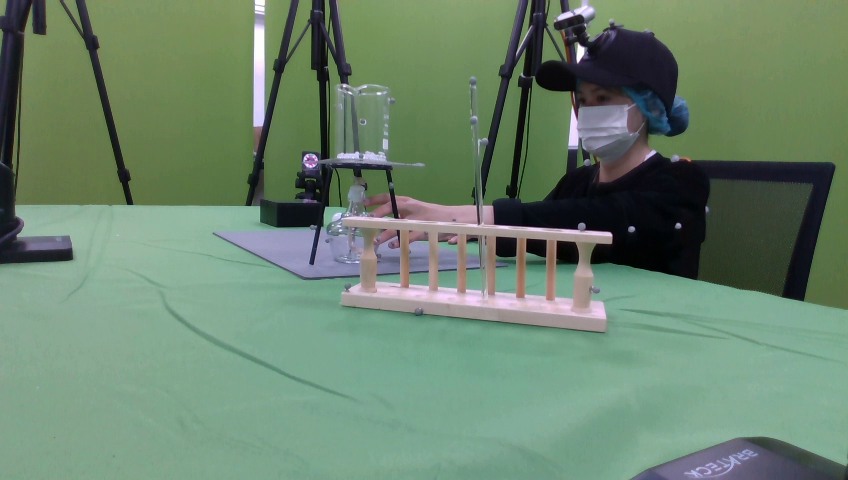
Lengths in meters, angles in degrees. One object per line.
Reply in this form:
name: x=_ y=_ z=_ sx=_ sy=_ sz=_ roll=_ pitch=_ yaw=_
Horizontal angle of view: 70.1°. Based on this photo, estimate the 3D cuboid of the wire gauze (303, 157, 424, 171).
wire gauze: x=-0.082 y=-0.101 z=0.799 sx=0.126 sy=0.011 sz=0.121 roll=1 pitch=7 yaw=-30

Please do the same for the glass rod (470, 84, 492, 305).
glass rod: x=0.051 y=-0.036 z=0.535 sx=0.008 sy=0.199 sz=0.008 roll=-5 pitch=10 yaw=1

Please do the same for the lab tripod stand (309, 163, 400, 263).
lab tripod stand: x=-0.091 y=-0.037 z=0.813 sx=0.148 sy=0.131 sz=0.148 roll=1 pitch=6 yaw=0

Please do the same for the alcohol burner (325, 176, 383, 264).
alcohol burner: x=-0.093 y=-0.027 z=0.814 sx=0.078 sy=0.119 sz=0.078 roll=3 pitch=5 yaw=0

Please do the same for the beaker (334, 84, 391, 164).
beaker: x=-0.082 y=-0.149 z=0.791 sx=0.074 sy=0.100 sz=0.084 roll=2 pitch=5 yaw=4

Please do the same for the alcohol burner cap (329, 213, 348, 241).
alcohol burner cap: x=-0.148 y=-0.024 z=1.050 sx=0.034 sy=0.048 sz=0.034 roll=3 pitch=7 yaw=0

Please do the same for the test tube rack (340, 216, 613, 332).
test tube rack: x=0.047 y=0.026 z=0.568 sx=0.242 sy=0.085 sz=0.067 roll=4 pitch=7 yaw=13
